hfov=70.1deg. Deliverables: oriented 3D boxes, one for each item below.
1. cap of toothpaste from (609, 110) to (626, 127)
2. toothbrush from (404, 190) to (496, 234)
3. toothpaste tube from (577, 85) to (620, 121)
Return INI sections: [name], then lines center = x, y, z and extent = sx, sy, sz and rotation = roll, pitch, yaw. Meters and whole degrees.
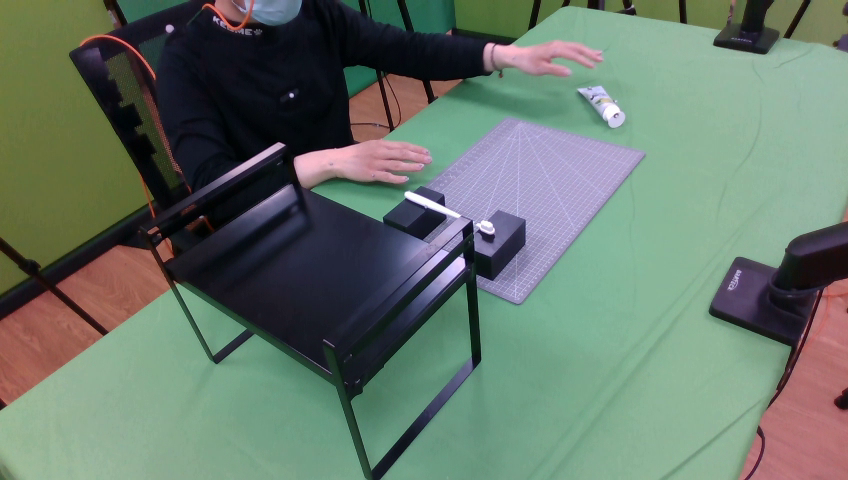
[cap of toothpaste]
center = 0.376, -0.238, 1.179
extent = 0.037, 0.037, 0.011
rotation = -15, 43, -10
[toothbrush]
center = 0.036, -0.047, 0.942
extent = 0.180, 0.017, 0.014
rotation = 25, 62, 34
[toothpaste tube]
center = 0.368, -0.285, 1.244
extent = 0.055, 0.034, 0.164
rotation = -2, 37, -7
